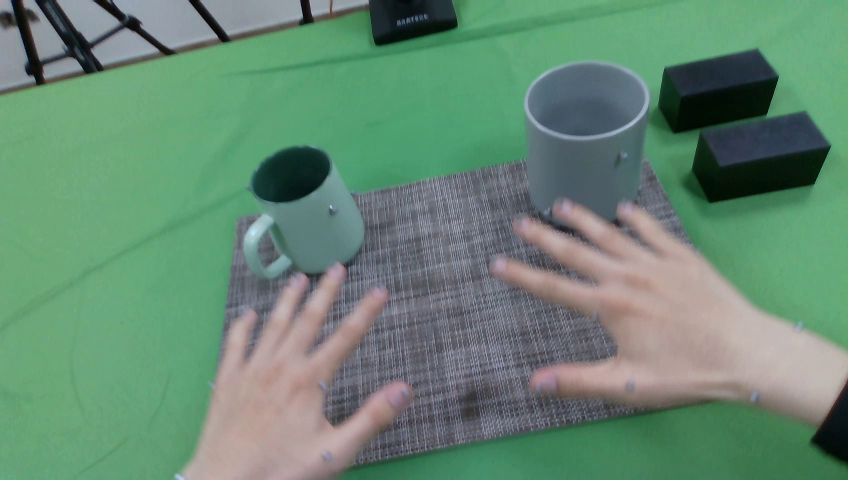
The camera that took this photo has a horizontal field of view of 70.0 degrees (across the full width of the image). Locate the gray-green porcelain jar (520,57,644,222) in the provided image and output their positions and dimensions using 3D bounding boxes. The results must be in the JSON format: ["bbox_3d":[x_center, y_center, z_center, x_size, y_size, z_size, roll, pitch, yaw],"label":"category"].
[{"bbox_3d":[0.146,-0.087,0.567,0.106,0.128,0.105,-6,50,8],"label":"gray-green porcelain jar"}]

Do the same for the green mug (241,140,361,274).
[{"bbox_3d":[-0.125,-0.021,0.587,0.092,0.106,0.125,22,59,27],"label":"green mug"}]
